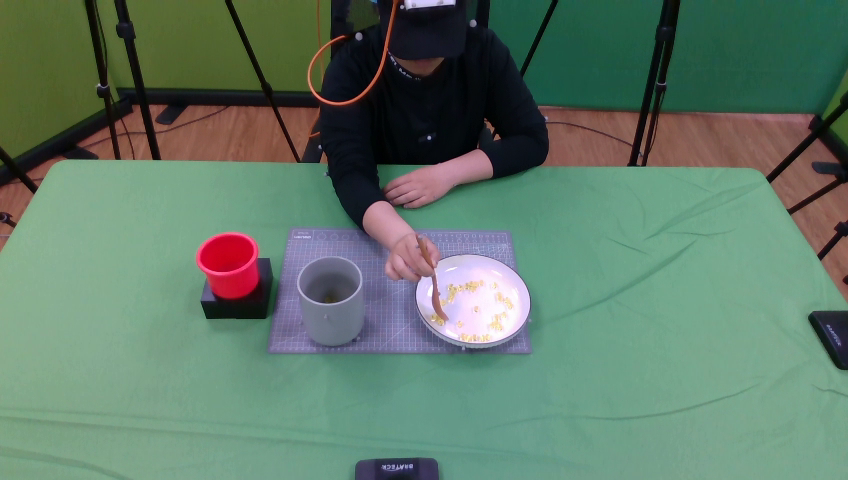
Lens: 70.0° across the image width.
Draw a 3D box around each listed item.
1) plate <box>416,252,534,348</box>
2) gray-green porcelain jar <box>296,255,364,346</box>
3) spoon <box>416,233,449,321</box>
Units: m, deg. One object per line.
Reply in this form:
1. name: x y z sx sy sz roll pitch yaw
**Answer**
1. plate: 0.090 0.109 1.084 0.208 0.039 0.206 2 46 -2
2. gray-green porcelain jar: -0.153 0.106 1.008 0.106 0.127 0.105 2 46 -2
3. spoon: 0.014 0.063 1.005 0.021 0.195 0.041 -20 36 -10
